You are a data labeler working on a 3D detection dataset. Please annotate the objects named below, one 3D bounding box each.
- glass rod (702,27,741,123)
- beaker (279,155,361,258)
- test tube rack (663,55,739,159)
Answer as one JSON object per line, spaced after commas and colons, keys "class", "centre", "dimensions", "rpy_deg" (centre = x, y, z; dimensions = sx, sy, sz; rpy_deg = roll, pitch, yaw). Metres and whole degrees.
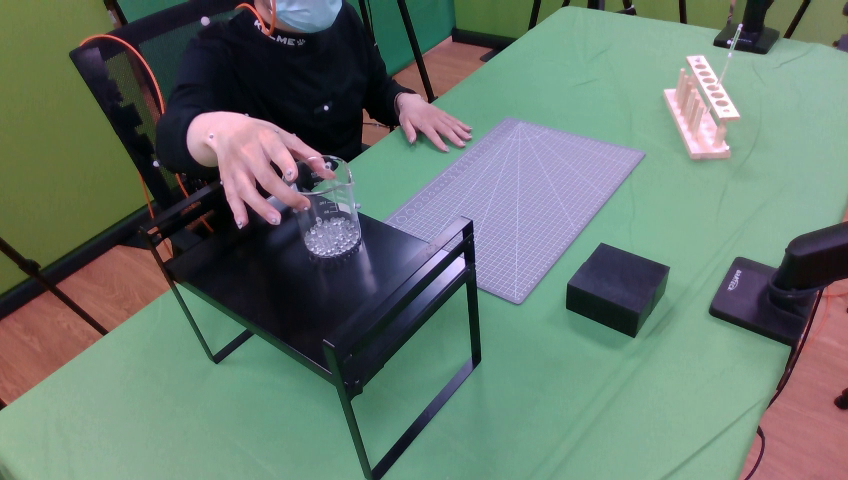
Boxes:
{"class": "glass rod", "centre": [0.527, -0.288, 1.078], "dimensions": [0.008, 0.200, 0.008], "rpy_deg": [-1, 49, 2]}
{"class": "beaker", "centre": [-0.111, -0.036, 0.692], "dimensions": [0.083, 0.101, 0.074], "rpy_deg": [7, 43, 16]}
{"class": "test tube rack", "centre": [0.518, -0.256, 1.144], "dimensions": [0.066, 0.085, 0.241], "rpy_deg": [-1, 41, 8]}
